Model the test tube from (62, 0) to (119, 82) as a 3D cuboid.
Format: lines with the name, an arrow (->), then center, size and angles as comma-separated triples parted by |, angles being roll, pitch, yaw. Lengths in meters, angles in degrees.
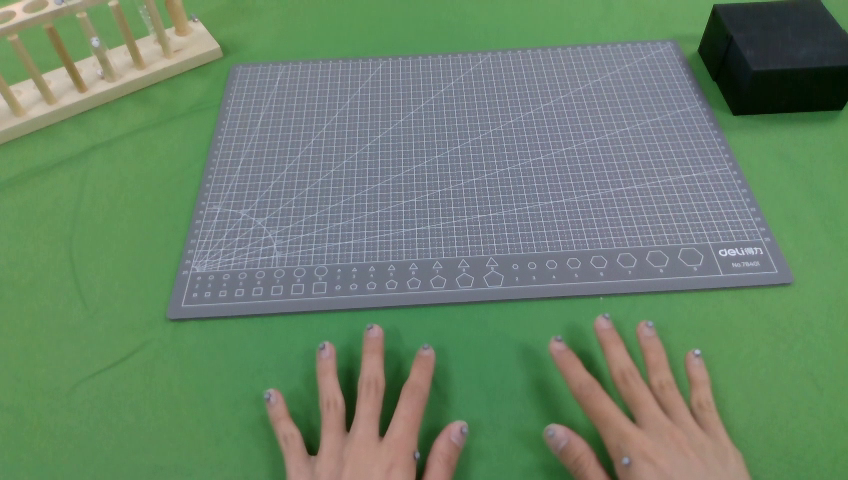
test tube -> -0.306, -0.205, 0.533 | 0.017, 0.152, 0.017 | -1, 51, 1

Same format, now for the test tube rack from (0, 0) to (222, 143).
test tube rack -> -0.328, -0.181, 0.572 | 0.242, 0.086, 0.066 | -29, 56, -19

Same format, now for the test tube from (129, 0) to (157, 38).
test tube -> -0.282, -0.253, 0.563 | 0.017, 0.151, 0.017 | -3, 55, 4
